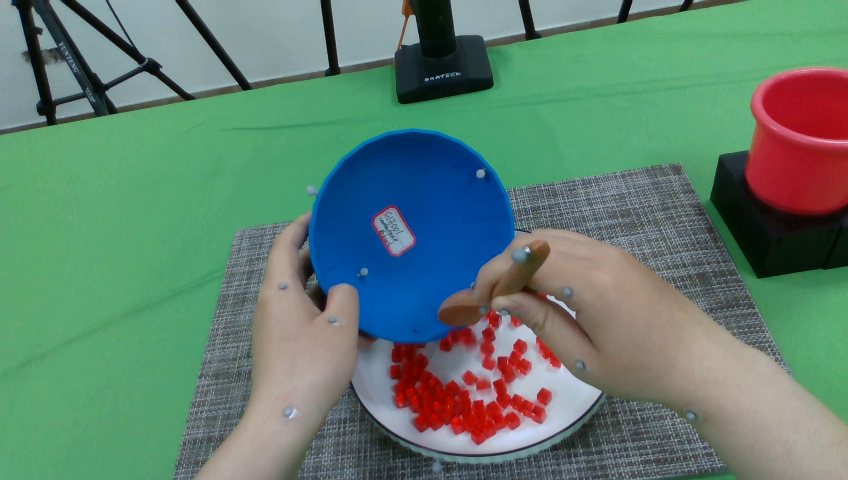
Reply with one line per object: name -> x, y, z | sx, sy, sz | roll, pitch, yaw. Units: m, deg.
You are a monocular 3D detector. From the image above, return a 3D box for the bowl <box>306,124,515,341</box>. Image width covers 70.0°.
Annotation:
bowl -> -0.017, -0.006, 0.453 | 0.151, 0.152, 0.076 | -28, 12, -15

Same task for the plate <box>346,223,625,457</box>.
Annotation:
plate -> 0.045, 0.071, 0.466 | 0.207, 0.039, 0.205 | -6, 46, 7

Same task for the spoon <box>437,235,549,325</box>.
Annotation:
spoon -> 0.038, 0.028, 0.340 | 0.042, 0.194, 0.021 | -8, 78, -10
